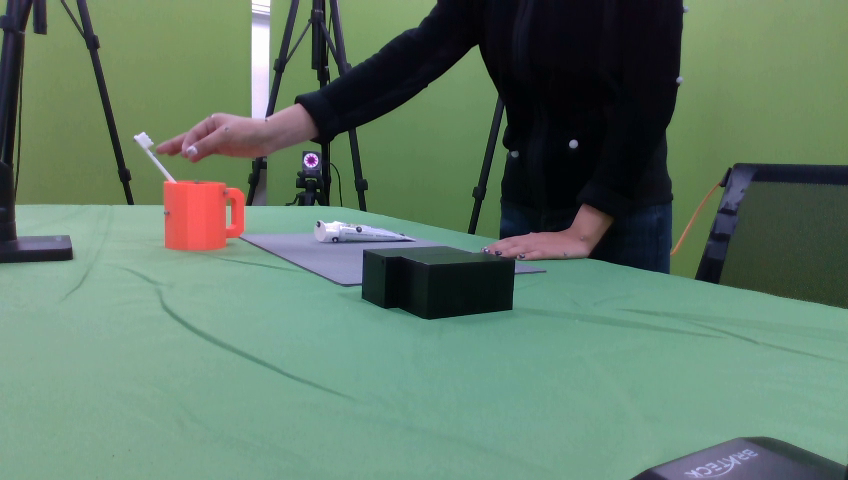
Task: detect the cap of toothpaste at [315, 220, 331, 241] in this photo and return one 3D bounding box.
[{"bbox_3d":[-0.165,-0.016,0.982,0.011,0.037,0.037,-9,12,-43],"label":"cap of toothpaste"}]

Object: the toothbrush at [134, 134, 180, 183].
[{"bbox_3d":[-0.349,-0.077,0.874,0.014,0.182,0.017,-13,30,47],"label":"toothbrush"}]

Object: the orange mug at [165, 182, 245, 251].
[{"bbox_3d":[-0.326,-0.040,0.911,0.083,0.101,0.127,8,14,37],"label":"orange mug"}]

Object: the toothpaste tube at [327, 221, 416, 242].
[{"bbox_3d":[-0.095,-0.012,1.026,0.166,0.034,0.055,2,13,-33],"label":"toothpaste tube"}]
